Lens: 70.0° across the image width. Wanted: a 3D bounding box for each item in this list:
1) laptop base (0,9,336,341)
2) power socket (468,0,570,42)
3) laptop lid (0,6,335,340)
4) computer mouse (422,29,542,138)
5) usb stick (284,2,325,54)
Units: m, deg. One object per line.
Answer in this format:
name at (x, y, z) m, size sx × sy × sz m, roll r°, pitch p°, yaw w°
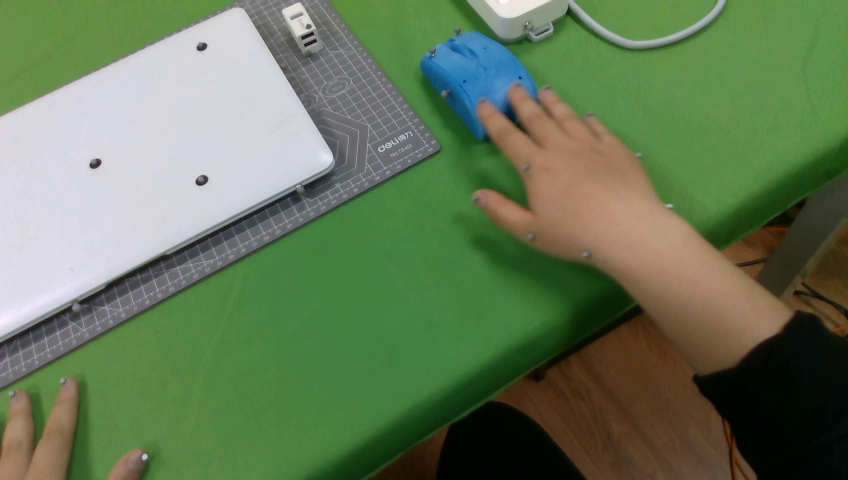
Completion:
laptop base at (-0.275, -0.061, 0.530) m, size 0.354 × 0.023 × 0.233 m, roll -29°, pitch 63°, yaw -8°
power socket at (0.059, -0.273, 0.589) m, size 0.072 × 0.033 × 0.224 m, roll -27°, pitch 59°, yaw -5°
laptop lid at (-0.275, -0.065, 0.519) m, size 0.357 × 0.013 × 0.239 m, roll -27°, pitch 62°, yaw -7°
computer mouse at (0.046, -0.139, 0.511) m, size 0.063 × 0.041 × 0.116 m, roll -30°, pitch 55°, yaw -5°
usb stick at (-0.117, -0.208, 0.581) m, size 0.021 × 0.027 × 0.058 m, roll -28°, pitch 57°, yaw -4°
